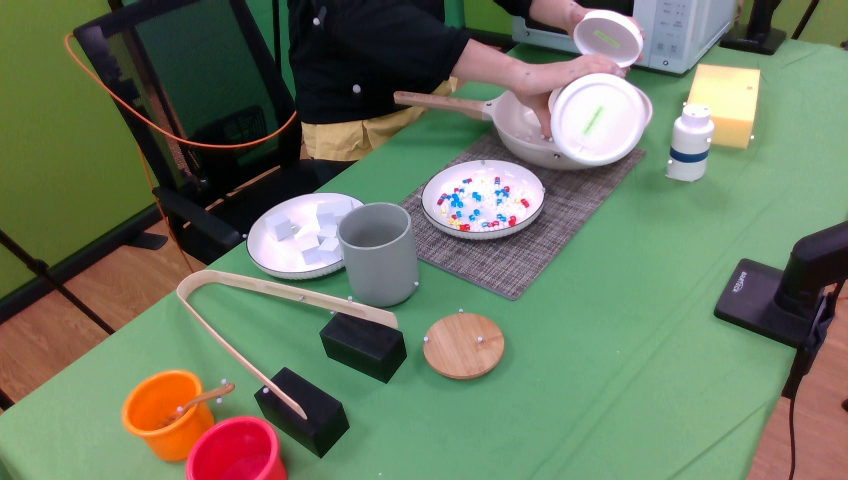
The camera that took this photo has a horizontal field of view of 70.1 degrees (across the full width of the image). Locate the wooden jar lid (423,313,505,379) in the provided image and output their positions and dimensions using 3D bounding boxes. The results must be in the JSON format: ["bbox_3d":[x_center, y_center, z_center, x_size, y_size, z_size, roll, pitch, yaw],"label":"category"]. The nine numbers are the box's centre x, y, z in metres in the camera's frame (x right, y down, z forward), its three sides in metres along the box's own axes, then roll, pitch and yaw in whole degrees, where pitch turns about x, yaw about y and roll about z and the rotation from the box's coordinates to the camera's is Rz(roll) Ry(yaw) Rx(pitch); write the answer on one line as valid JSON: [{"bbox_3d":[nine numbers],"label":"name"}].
[{"bbox_3d":[0.053,0.142,0.800,0.108,0.021,0.108,-5,39,4],"label":"wooden jar lid"}]

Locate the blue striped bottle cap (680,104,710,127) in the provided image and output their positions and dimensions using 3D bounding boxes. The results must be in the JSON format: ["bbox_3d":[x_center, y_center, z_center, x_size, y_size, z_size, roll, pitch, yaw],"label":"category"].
[{"bbox_3d":[0.443,-0.205,0.989,0.044,0.021,0.044,-1,41,1],"label":"blue striped bottle cap"}]

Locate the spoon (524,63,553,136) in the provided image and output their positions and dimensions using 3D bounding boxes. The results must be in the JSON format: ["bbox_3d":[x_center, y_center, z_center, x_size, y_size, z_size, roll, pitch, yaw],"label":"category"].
[{"bbox_3d":[0.235,-0.282,1.203,0.042,0.022,0.192,-13,68,-3],"label":"spoon"}]

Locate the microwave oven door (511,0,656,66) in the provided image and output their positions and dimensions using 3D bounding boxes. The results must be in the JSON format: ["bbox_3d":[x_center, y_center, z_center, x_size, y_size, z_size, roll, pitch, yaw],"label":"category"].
[{"bbox_3d":[0.351,-0.541,1.350,0.353,0.245,0.039,24,51,31],"label":"microwave oven door"}]

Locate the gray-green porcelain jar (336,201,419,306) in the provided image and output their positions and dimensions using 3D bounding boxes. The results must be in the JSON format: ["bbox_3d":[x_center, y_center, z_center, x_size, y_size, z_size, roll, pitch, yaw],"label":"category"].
[{"bbox_3d":[-0.064,0.024,0.872,0.106,0.127,0.105,-4,41,4],"label":"gray-green porcelain jar"}]

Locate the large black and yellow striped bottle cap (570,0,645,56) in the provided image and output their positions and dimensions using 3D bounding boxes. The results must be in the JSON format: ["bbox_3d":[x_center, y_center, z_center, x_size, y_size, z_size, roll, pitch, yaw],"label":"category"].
[{"bbox_3d":[0.289,-0.338,0.957,0.115,0.019,0.114,-1,60,3],"label":"large black and yellow striped bottle cap"}]

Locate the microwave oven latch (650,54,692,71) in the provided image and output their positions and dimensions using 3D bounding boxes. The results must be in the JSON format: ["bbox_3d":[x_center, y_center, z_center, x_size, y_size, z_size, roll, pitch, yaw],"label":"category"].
[{"bbox_3d":[0.530,-0.386,1.301,0.078,0.029,0.030,23,50,31],"label":"microwave oven latch"}]

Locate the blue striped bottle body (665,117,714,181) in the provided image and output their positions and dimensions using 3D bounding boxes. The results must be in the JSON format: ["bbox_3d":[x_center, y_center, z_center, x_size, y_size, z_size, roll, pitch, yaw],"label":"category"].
[{"bbox_3d":[0.450,-0.166,1.022,0.063,0.121,0.063,-5,41,4],"label":"blue striped bottle body"}]

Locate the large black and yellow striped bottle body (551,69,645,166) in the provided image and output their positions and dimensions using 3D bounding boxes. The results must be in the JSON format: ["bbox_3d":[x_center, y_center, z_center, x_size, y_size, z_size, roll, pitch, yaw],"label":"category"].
[{"bbox_3d":[0.265,-0.195,0.938,0.130,0.131,0.184,3,20,12],"label":"large black and yellow striped bottle body"}]

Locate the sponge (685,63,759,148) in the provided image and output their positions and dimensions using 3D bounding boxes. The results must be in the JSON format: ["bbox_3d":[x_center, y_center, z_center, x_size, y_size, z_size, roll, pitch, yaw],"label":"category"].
[{"bbox_3d":[0.569,-0.263,1.164,0.117,0.061,0.207,12,45,22],"label":"sponge"}]

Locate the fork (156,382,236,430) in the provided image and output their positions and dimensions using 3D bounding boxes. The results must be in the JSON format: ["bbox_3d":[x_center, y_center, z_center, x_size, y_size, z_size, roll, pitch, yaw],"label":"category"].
[{"bbox_3d":[-0.262,0.189,0.690,0.018,0.206,0.028,49,43,-7],"label":"fork"}]

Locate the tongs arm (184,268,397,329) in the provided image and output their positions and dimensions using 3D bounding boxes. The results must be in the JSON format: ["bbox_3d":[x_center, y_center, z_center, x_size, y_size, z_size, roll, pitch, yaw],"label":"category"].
[{"bbox_3d":[-0.202,0.084,0.848,0.382,0.027,0.051,11,44,35],"label":"tongs arm"}]

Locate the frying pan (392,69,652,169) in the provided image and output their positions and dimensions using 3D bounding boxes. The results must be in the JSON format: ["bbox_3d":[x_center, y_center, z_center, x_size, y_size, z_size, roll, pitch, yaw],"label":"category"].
[{"bbox_3d":[0.175,-0.249,1.166,0.487,0.103,0.306,12,43,9],"label":"frying pan"}]

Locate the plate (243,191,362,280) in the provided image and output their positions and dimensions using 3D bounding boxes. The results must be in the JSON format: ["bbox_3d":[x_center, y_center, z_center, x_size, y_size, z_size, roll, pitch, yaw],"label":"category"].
[{"bbox_3d":[-0.188,-0.005,0.992,0.207,0.039,0.206,-4,41,4],"label":"plate"}]

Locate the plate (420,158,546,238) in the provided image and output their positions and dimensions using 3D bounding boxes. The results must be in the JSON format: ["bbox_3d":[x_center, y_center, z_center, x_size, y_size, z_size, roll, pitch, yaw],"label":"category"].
[{"bbox_3d":[0.099,-0.067,1.017,0.209,0.038,0.208,-4,40,4],"label":"plate"}]

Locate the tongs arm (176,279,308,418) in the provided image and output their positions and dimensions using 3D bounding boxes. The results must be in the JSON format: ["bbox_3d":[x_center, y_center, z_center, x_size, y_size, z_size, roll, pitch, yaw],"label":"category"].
[{"bbox_3d":[-0.255,0.132,0.801,0.028,0.028,0.384,-41,40,-23],"label":"tongs arm"}]

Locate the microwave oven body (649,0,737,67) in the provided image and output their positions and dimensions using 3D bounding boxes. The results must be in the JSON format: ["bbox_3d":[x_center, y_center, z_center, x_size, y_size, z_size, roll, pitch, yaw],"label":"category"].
[{"bbox_3d":[0.475,-0.602,1.411,0.438,0.261,0.327,23,50,32],"label":"microwave oven body"}]
